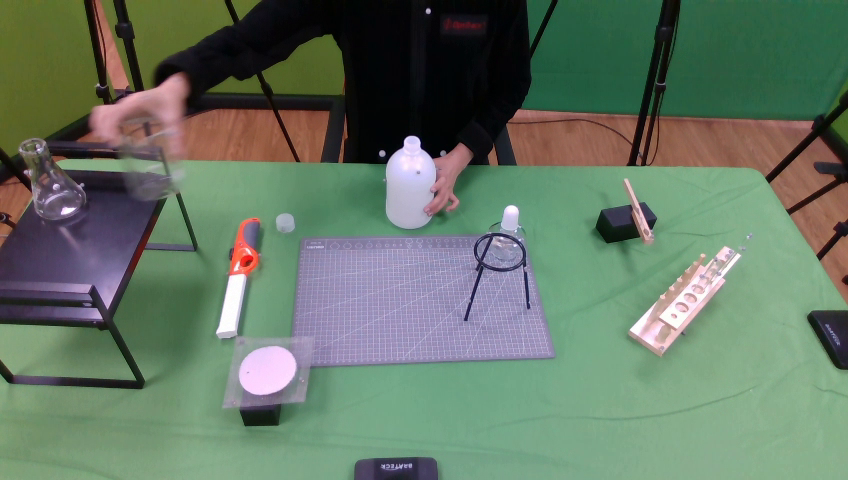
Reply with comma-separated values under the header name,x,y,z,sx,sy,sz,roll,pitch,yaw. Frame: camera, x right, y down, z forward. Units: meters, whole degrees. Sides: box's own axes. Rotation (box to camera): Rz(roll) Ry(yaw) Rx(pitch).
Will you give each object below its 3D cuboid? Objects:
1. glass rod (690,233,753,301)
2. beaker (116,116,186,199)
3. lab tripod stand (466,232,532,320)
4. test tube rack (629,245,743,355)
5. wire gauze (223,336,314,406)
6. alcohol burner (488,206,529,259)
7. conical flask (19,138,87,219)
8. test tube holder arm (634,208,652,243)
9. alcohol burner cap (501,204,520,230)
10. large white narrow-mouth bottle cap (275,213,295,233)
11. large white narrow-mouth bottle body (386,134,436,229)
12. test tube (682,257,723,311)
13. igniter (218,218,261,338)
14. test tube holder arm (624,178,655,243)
name,x,y,z,sx,sy,sz,roll,pitch,yaw
glass rod,0.507,0.053,1.041,0.008,0.200,0.008,5,51,-6
beaker,-0.382,-0.114,0.859,0.074,0.101,0.083,-10,35,-15
lab tripod stand,0.125,0.059,1.065,0.148,0.132,0.147,1,45,0
test tube rack,0.474,0.095,1.091,0.242,0.085,0.066,-34,56,-31
wire gauze,-0.236,0.197,0.931,0.121,0.011,0.124,1,45,-4
alcohol burner,0.163,-0.020,1.158,0.078,0.120,0.077,1,47,0
conical flask,-0.576,-0.097,0.930,0.075,0.122,0.075,2,46,-2
test tube holder arm,0.428,-0.030,1.189,0.010,0.015,0.087,2,47,-3
alcohol burner cap,0.164,-0.046,1.133,0.034,0.048,0.033,2,40,-2
large white narrow-mouth bottle cap,-0.277,-0.034,1.213,0.038,0.024,0.037,3,46,-3
large white narrow-mouth bottle body,-0.026,-0.121,1.191,0.102,0.195,0.101,2,46,-2
test tube,0.475,0.080,1.037,0.017,0.151,0.017,1,51,-1
igniter,-0.336,0.060,1.111,0.057,0.025,0.274,-7,46,4
test tube holder arm,0.432,-0.062,1.220,0.013,0.015,0.177,1,47,-3
